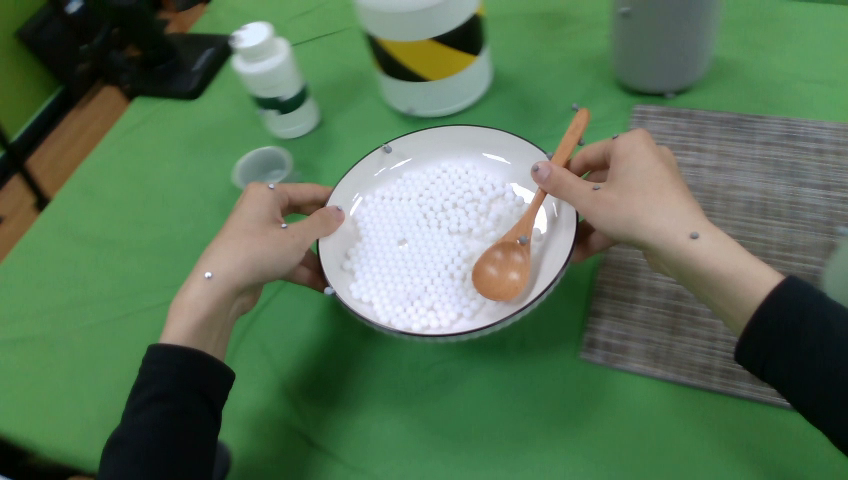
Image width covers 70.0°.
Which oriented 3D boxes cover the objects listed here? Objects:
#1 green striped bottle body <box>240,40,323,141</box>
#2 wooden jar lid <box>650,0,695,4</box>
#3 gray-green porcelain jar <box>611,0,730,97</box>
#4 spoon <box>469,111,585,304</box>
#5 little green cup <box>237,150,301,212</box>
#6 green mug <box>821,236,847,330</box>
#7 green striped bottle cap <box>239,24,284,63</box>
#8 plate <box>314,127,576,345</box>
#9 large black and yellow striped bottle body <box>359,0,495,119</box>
[{"bbox_3d":[-0.161,-0.173,0.674,0.063,0.120,0.062,-6,52,9],"label":"green striped bottle body"},{"bbox_3d":[0.235,-0.257,0.566,0.108,0.021,0.107,-6,55,9],"label":"wooden jar lid"},{"bbox_3d":[0.247,-0.219,0.614,0.106,0.128,0.105,-6,53,8],"label":"gray-green porcelain jar"},{"bbox_3d":[0.089,-0.031,0.475,0.041,0.022,0.193,25,71,16],"label":"spoon"},{"bbox_3d":[-0.162,-0.061,0.642,0.061,0.039,0.061,-6,52,8],"label":"little green cup"},{"bbox_3d":[0.355,0.025,0.415,0.124,0.106,0.092,32,66,30],"label":"green mug"},{"bbox_3d":[-0.170,-0.205,0.633,0.044,0.020,0.044,-4,55,7],"label":"green striped bottle cap"},{"bbox_3d":[0.017,-0.006,0.490,0.209,0.038,0.207,-5,54,7],"label":"plate"},{"bbox_3d":[0.003,-0.237,0.644,0.130,0.186,0.129,-6,53,8],"label":"large black and yellow striped bottle body"}]
